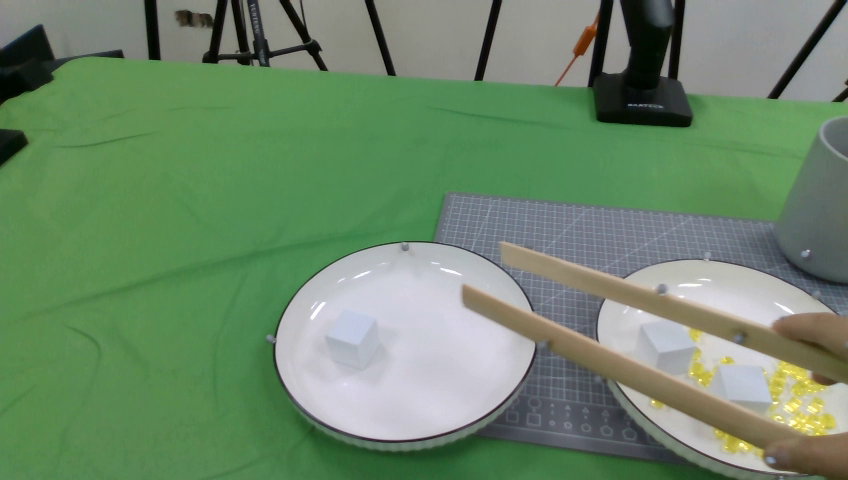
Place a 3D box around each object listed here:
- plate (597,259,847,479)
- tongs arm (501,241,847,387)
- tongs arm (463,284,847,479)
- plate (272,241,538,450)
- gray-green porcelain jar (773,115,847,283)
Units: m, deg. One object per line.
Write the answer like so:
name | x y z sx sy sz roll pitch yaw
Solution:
plate | 0.238 0.097 0.468 0.208 0.039 0.205 0 40 0
tongs arm | 0.205 0.076 0.347 0.382 0.027 0.050 19 49 28
tongs arm | 0.186 0.096 0.330 0.384 0.028 0.028 20 46 29
plate | -0.014 0.081 0.490 0.209 0.038 0.207 -1 40 1
gray-green porcelain jar | 0.389 -0.033 0.550 0.106 0.127 0.105 0 40 1
